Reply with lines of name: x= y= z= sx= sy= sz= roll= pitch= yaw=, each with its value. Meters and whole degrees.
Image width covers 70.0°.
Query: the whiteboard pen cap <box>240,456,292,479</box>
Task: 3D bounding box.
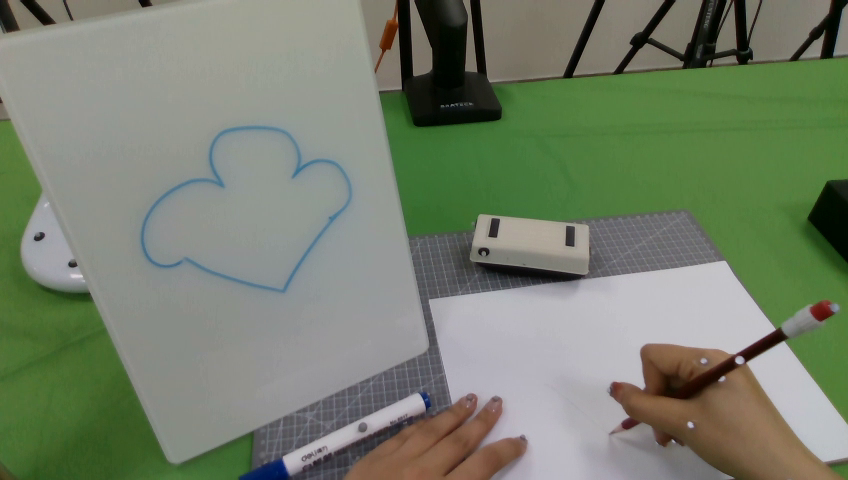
whiteboard pen cap: x=-0.111 y=0.165 z=0.425 sx=0.033 sy=0.018 sz=0.018 roll=-21 pitch=46 yaw=-20

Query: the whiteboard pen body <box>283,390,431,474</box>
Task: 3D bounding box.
whiteboard pen body: x=-0.059 y=0.145 z=0.445 sx=0.141 sy=0.017 sz=0.017 roll=-21 pitch=46 yaw=-20

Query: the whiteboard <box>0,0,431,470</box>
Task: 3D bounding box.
whiteboard: x=-0.143 y=-0.025 z=0.473 sx=0.217 sy=0.308 sz=0.142 roll=-20 pitch=26 yaw=-20

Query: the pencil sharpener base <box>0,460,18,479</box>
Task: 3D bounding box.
pencil sharpener base: x=-0.295 y=0.164 z=0.366 sx=0.061 sy=0.108 sz=0.076 roll=29 pitch=50 yaw=28

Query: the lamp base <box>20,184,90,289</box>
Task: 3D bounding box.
lamp base: x=-0.333 y=-0.071 z=0.572 sx=0.178 sy=0.182 sz=0.160 roll=22 pitch=46 yaw=26

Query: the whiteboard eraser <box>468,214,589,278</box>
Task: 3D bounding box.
whiteboard eraser: x=0.102 y=0.006 z=0.588 sx=0.112 sy=0.042 sz=0.055 roll=7 pitch=43 yaw=8

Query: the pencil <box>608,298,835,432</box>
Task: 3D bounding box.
pencil: x=0.178 y=0.090 z=0.391 sx=0.012 sy=0.195 sz=0.012 roll=15 pitch=49 yaw=-17
